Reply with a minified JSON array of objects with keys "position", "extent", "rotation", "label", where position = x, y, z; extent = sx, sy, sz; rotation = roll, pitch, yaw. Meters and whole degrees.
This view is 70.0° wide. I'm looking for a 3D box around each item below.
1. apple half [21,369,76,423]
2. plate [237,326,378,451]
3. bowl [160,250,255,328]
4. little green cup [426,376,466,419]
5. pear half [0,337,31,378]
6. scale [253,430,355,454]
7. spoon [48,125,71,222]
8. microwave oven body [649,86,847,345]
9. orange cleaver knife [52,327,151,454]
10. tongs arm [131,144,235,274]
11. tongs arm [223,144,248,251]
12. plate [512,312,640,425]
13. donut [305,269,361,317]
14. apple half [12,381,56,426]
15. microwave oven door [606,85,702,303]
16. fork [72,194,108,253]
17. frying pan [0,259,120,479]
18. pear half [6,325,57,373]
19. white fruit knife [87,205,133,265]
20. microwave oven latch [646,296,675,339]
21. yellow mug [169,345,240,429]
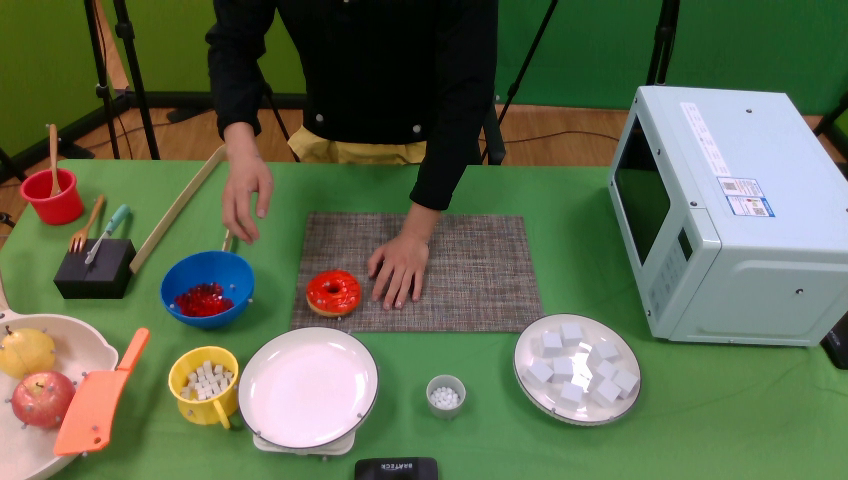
[{"position":[-0.546,0.226,0.898],"extent":[0.080,0.075,0.053],"rotation":[30,48,27],"label":"apple half"},{"position":[-0.174,0.224,0.917],"extent":[0.209,0.038,0.208],"rotation":[2,46,-2],"label":"plate"},{"position":[-0.362,0.098,1.040],"extent":[0.151,0.077,0.150],"rotation":[2,45,-2],"label":"bowl"},{"position":[0.033,0.248,0.950],"extent":[0.061,0.039,0.061],"rotation":[2,46,-2],"label":"little green cup"},{"position":[-0.631,0.183,0.923],"extent":[0.070,0.088,0.031],"rotation":[28,50,14],"label":"pear half"},{"position":[-0.175,0.236,0.951],"extent":[0.149,0.032,0.199],"rotation":[4,45,0],"label":"scale"},{"position":[-0.719,-0.131,1.189],"extent":[0.041,0.021,0.193],"rotation":[-3,91,-6],"label":"spoon"},{"position":[0.567,-0.053,1.118],"extent":[0.326,0.261,0.439],"rotation":[2,45,-1],"label":"microwave oven body"},{"position":[-0.462,0.212,0.879],"extent":[0.077,0.012,0.210],"rotation":[7,45,-2],"label":"orange cleaver knife"},{"position":[-0.484,-0.077,1.235],"extent":[0.028,0.028,0.385],"rotation":[6,45,13],"label":"tongs arm"},{"position":[-0.398,-0.073,1.232],"extent":[0.051,0.027,0.382],"rotation":[-2,45,0],"label":"tongs arm"},{"position":[0.246,0.213,0.999],"extent":[0.208,0.039,0.206],"rotation":[2,46,-2],"label":"plate"},{"position":[-0.160,0.094,1.075],"extent":[0.099,0.048,0.098],"rotation":[4,46,-4],"label":"donut"},{"position":[-0.570,0.246,0.875],"extent":[0.081,0.081,0.033],"rotation":[32,49,25],"label":"apple half"},{"position":[0.422,-0.094,1.140],"extent":[0.039,0.245,0.353],"rotation":[2,46,-1],"label":"microwave oven door"},{"position":[-0.634,-0.036,1.158],"extent":[0.028,0.019,0.206],"rotation":[-7,31,-8],"label":"fork"},{"position":[-0.647,0.164,0.936],"extent":[0.307,0.103,0.485],"rotation":[-19,58,-22],"label":"frying pan"},{"position":[-0.607,0.158,0.935],"extent":[0.076,0.110,0.056],"rotation":[31,51,19],"label":"pear half"},{"position":[-0.584,-0.013,1.129],"extent":[0.016,0.027,0.206],"rotation":[0,31,-5],"label":"white fruit knife"},{"position":[0.412,0.134,1.061],"extent":[0.030,0.029,0.078],"rotation":[4,45,1],"label":"microwave oven latch"},{"position":[-0.323,0.230,0.922],"extent":[0.100,0.064,0.130],"rotation":[-24,53,-25],"label":"yellow mug"}]
